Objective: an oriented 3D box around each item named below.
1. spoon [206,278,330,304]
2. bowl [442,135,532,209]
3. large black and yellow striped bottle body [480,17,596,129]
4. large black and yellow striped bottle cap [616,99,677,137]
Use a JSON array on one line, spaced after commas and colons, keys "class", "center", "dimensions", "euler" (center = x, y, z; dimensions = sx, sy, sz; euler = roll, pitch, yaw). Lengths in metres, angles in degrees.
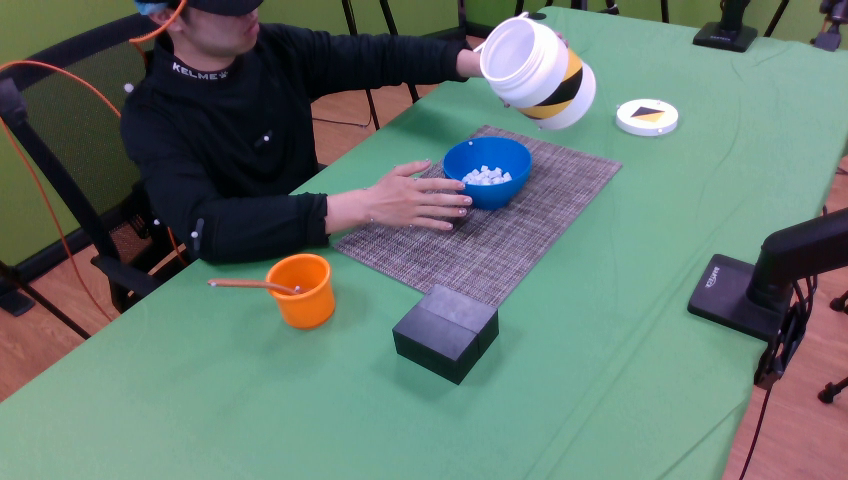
[{"class": "spoon", "center": [-0.207, 0.066, 0.824], "dimensions": [0.041, 0.195, 0.021], "euler": [32, 99, 41]}, {"class": "bowl", "center": [0.108, -0.106, 1.026], "dimensions": [0.151, 0.077, 0.150], "euler": [-4, 40, 4]}, {"class": "large black and yellow striped bottle body", "center": [0.190, -0.278, 1.013], "dimensions": [0.130, 0.186, 0.130], "euler": [-16, 65, 38]}, {"class": "large black and yellow striped bottle cap", "center": [0.438, -0.242, 1.190], "dimensions": [0.115, 0.019, 0.114], "euler": [-4, 42, 4]}]
